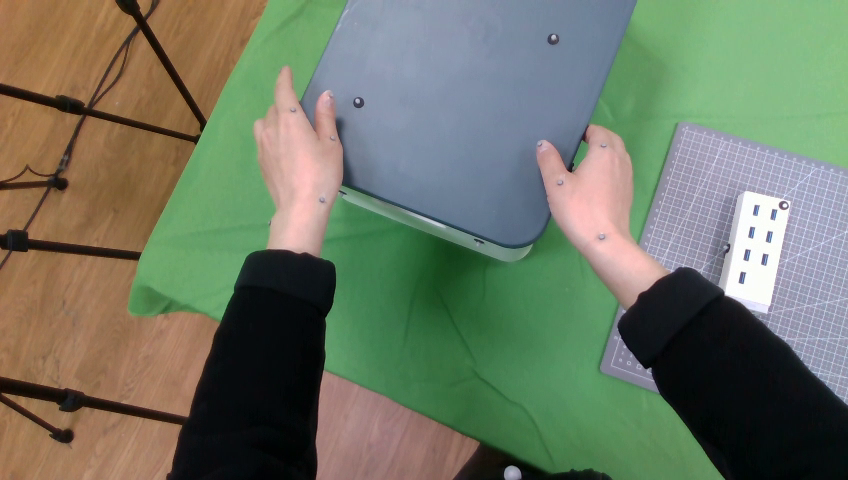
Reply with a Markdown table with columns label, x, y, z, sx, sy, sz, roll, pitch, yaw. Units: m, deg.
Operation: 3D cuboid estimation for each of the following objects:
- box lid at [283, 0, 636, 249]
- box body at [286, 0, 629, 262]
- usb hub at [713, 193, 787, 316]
| label | x | y | z | sx | sy | sz | roll | pitch | yaw |
| --- | --- | --- | --- | --- | --- | --- | --- | --- | --- |
| box lid | 0.046 | -0.195 | 0.578 | 0.262 | 0.015 | 0.370 | 22 | 82 | 10 |
| box body | 0.055 | -0.181 | 0.650 | 0.253 | 0.161 | 0.363 | 21 | 82 | 10 |
| usb hub | 0.348 | 0.015 | 0.647 | 0.049 | 0.025 | 0.125 | 15 | 81 | 9 |
